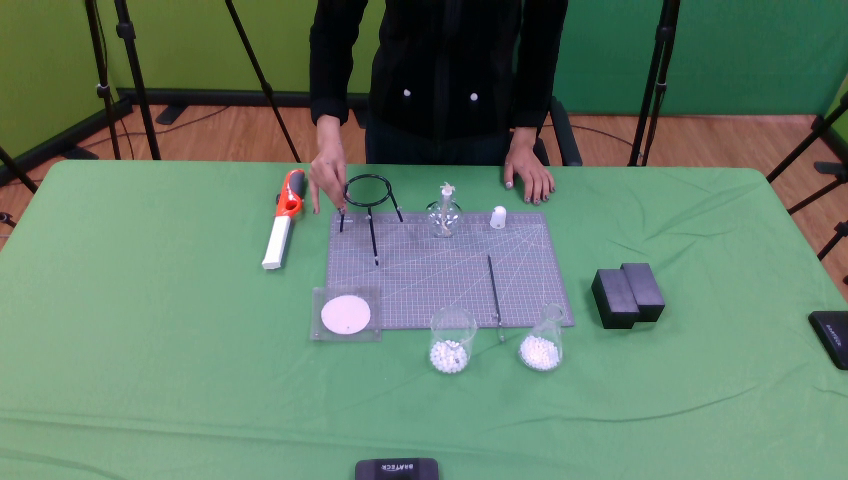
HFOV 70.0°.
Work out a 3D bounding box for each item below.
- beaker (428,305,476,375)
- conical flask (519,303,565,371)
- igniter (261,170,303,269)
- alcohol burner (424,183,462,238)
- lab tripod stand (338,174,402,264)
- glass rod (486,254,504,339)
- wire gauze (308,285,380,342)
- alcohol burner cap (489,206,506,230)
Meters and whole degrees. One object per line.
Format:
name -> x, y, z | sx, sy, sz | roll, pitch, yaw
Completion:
beaker -> 0.044, 0.169, 0.987 | 0.074, 0.101, 0.083 | 1, 47, -3
conical flask -> 0.201, 0.155, 0.997 | 0.075, 0.122, 0.075 | 2, 46, -2
igniter -> -0.283, -0.050, 1.222 | 0.057, 0.025, 0.275 | -4, 45, 6
alcohol burner -> 0.039, -0.063, 1.197 | 0.078, 0.119, 0.077 | 2, 44, -2
lab tripod stand -> -0.102, -0.051, 1.151 | 0.148, 0.132, 0.147 | -1, 44, 1
glass rod -> 0.129, 0.099, 1.119 | 0.008, 0.008, 0.198 | -1, 47, -4
wire gauze -> -0.141, 0.128, 1.071 | 0.125, 0.011, 0.120 | -1, 46, -5
alcohol burner cap -> 0.152, -0.047, 1.241 | 0.034, 0.048, 0.033 | 2, 45, -2
